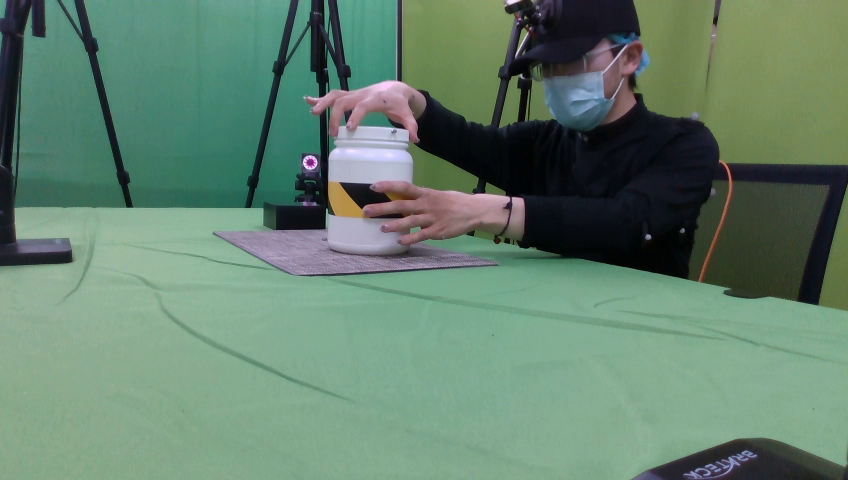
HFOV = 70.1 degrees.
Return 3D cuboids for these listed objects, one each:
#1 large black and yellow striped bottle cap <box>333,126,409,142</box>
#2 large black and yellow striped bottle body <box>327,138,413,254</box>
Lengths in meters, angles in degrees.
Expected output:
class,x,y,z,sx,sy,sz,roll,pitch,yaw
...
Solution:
class,x,y,z,sx,sy,sz,roll,pitch,yaw
large black and yellow striped bottle cap,-0.080,-0.161,0.920,0.115,0.019,0.115,2,8,0
large black and yellow striped bottle body,-0.083,-0.077,0.930,0.131,0.184,0.130,2,7,0
